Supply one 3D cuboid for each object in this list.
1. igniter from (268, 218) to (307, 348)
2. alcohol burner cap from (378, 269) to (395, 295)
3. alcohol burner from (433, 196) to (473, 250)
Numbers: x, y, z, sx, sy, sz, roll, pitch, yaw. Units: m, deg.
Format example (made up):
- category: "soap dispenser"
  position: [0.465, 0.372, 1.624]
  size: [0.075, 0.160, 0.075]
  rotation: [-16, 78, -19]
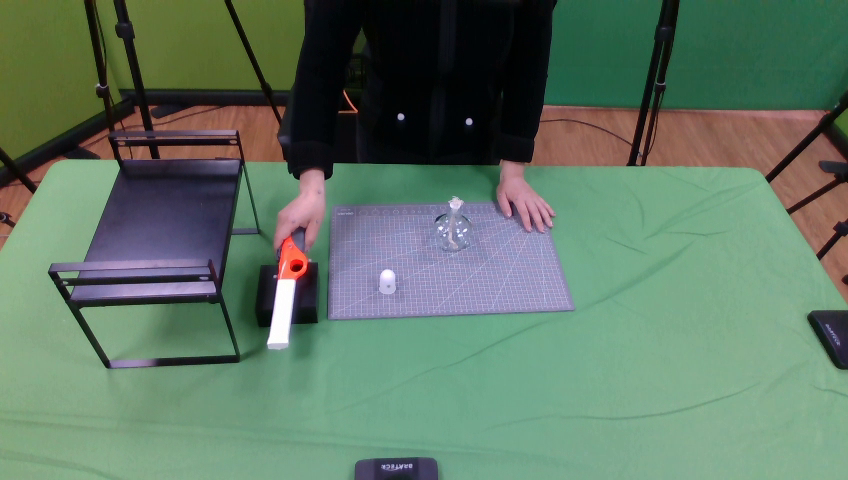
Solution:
- category: "igniter"
  position: [-0.233, 0.063, 1.039]
  size: [0.057, 0.025, 0.274]
  rotation: [1, 48, -3]
- category: "alcohol burner cap"
  position: [-0.068, 0.073, 1.103]
  size: [0.034, 0.048, 0.033]
  rotation: [3, 46, -3]
- category: "alcohol burner"
  position: [0.058, -0.038, 1.169]
  size: [0.078, 0.119, 0.077]
  rotation: [3, 45, -3]
